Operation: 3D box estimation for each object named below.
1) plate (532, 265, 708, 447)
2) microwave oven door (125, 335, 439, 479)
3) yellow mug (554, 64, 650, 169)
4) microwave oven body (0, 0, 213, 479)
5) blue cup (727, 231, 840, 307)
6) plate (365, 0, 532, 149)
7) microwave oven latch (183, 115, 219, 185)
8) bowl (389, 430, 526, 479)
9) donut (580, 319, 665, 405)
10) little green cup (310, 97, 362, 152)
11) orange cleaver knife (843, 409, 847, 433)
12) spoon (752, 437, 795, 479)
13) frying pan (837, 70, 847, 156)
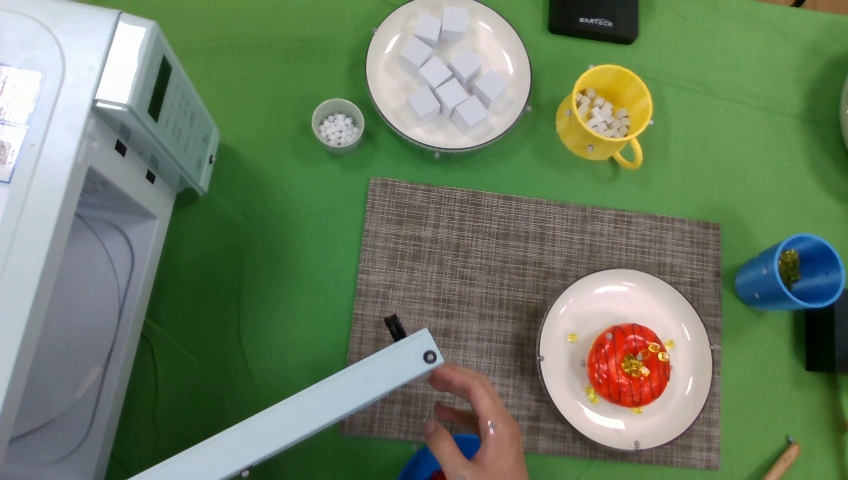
[{"bbox_3d":[0.226,0.134,0.710,0.209,0.038,0.208,1,79,-6],"label":"plate"},{"bbox_3d":[-0.161,0.177,0.539,0.356,0.244,0.039,-26,82,-11],"label":"microwave oven door"},{"bbox_3d":[0.228,-0.146,0.757,0.100,0.064,0.130,-30,84,-11],"label":"yellow mug"},{"bbox_3d":[-0.420,0.019,0.546,0.326,0.260,0.440,10,78,-5],"label":"microwave oven body"},{"bbox_3d":[0.419,0.042,0.722,0.093,0.100,0.092,2,77,-7],"label":"blue cup"},{"bbox_3d":[0.031,-0.209,0.761,0.208,0.039,0.206,1,79,-6],"label":"plate"},{"bbox_3d":[-0.256,-0.104,0.688,0.030,0.029,0.079,12,78,-4],"label":"microwave oven latch"},{"bbox_3d":[0.030,0.276,0.643,0.152,0.077,0.150,2,78,-7],"label":"bowl"},{"bbox_3d":[0.228,0.140,0.698,0.099,0.048,0.098,1,82,-5],"label":"donut"},{"bbox_3d":[-0.105,-0.136,0.729,0.062,0.039,0.061,1,79,-7],"label":"little green cup"},{"bbox_3d":[0.523,0.219,0.709,0.012,0.076,0.212,7,107,-5],"label":"orange cleaver knife"},{"bbox_3d":[0.373,0.298,0.706,0.193,0.022,0.041,-38,68,-12],"label":"spoon"},{"bbox_3d":[0.665,-0.064,0.770,0.307,0.103,0.485,12,70,-3],"label":"frying pan"}]
